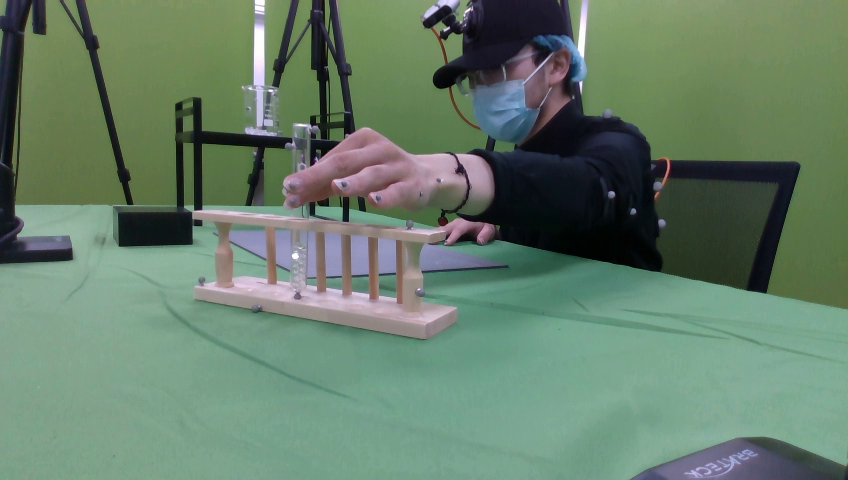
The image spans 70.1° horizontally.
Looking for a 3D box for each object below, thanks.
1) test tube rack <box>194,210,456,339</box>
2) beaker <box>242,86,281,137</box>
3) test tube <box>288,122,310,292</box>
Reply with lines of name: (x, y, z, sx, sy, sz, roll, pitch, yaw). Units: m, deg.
test tube rack: (-0.093, 0.023, 0.545, 0.241, 0.085, 0.067, 6, 8, 25)
beaker: (-0.338, -0.265, 1.252, 0.073, 0.100, 0.084, 8, 9, 38)
test tube: (-0.110, -0.027, 0.531, 0.017, 0.150, 0.017, 3, 10, 0)
